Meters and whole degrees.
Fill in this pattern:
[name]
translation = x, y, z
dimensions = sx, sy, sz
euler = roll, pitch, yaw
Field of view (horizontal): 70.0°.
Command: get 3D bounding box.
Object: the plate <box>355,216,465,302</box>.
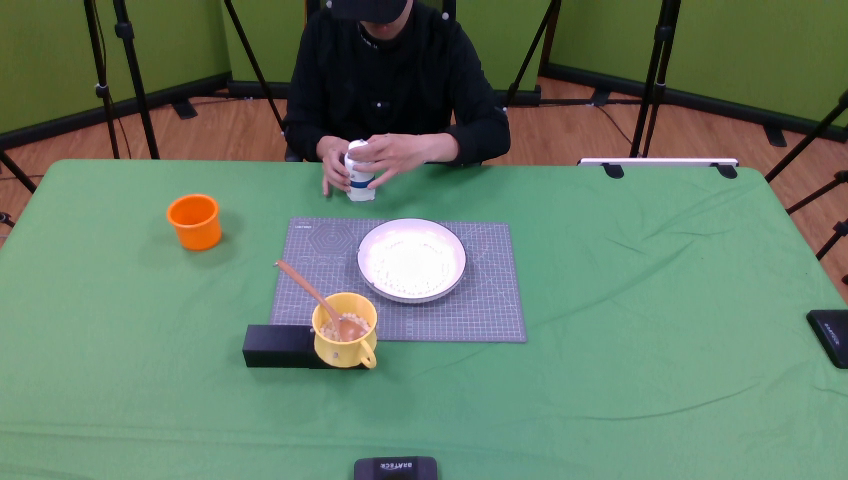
[plate]
translation = -0.027, 0.039, 1.144
dimensions = 0.208, 0.039, 0.206
euler = 2, 46, -2

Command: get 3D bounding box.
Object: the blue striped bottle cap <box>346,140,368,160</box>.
[blue striped bottle cap]
translation = -0.134, -0.181, 1.218
dimensions = 0.044, 0.021, 0.044
euler = 4, 43, -4

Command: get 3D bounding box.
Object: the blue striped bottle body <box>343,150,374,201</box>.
[blue striped bottle body]
translation = -0.135, -0.145, 1.257
dimensions = 0.063, 0.121, 0.062
euler = 3, 46, -3

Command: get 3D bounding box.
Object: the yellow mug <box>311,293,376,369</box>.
[yellow mug]
translation = -0.116, 0.150, 0.945
dimensions = 0.100, 0.064, 0.130
euler = -29, 57, -29

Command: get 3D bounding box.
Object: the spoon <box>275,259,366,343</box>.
[spoon]
translation = -0.161, 0.098, 0.946
dimensions = 0.194, 0.021, 0.041
euler = 48, 56, -5
